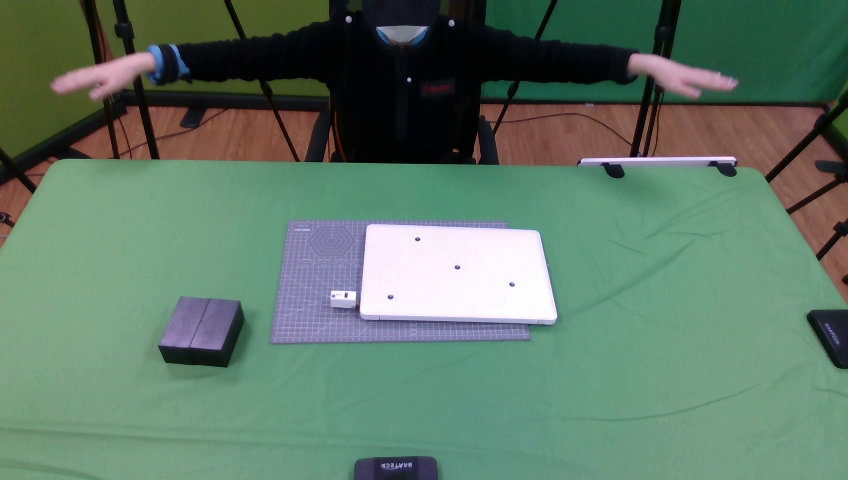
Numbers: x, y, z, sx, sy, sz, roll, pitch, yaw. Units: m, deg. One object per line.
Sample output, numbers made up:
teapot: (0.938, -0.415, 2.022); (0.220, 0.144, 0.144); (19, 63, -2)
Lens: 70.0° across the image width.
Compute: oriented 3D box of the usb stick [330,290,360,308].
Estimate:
usb stick: (-0.135, 0.105, 1.068); (0.059, 0.027, 0.021); (6, 44, -7)

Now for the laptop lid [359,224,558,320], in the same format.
laptop lid: (0.062, 0.053, 1.138); (0.357, 0.013, 0.240); (3, 44, -2)

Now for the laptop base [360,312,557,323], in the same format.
laptop base: (0.061, 0.063, 1.145); (0.354, 0.023, 0.234); (2, 43, -3)
